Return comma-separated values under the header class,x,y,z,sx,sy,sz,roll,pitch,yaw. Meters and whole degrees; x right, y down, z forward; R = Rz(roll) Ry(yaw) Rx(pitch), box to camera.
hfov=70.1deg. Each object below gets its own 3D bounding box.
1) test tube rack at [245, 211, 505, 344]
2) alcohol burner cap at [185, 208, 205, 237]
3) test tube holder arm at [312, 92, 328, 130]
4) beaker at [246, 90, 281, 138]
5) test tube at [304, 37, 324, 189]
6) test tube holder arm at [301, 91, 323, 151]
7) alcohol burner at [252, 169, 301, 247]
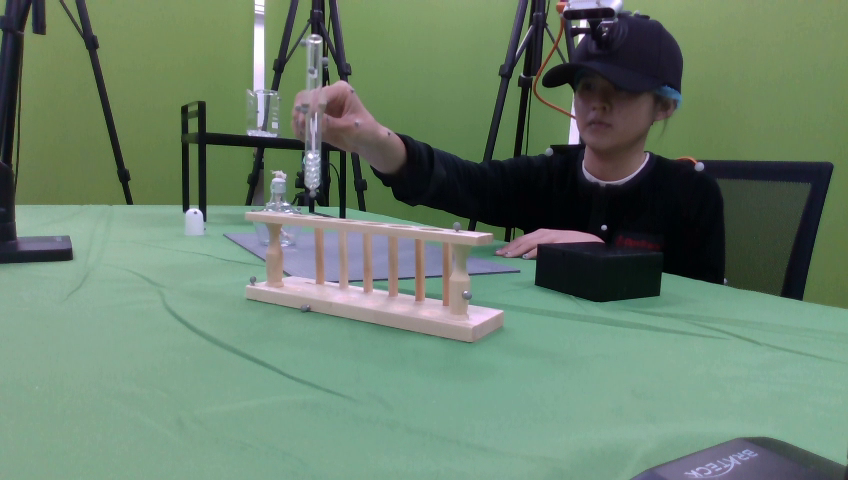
class,x,y,z,sx,sy,sz,roll,pitch,yaw
test tube rack,-0.049,0.024,0.547,0.241,0.085,0.067,7,8,29
alcohol burner cap,-0.391,-0.031,1.032,0.034,0.048,0.034,3,8,0
test tube holder arm,-0.106,-0.128,0.608,0.010,0.015,0.087,1,-6,-15
beaker,-0.354,-0.275,1.322,0.074,0.100,0.084,4,8,12
test tube,-0.106,-0.123,0.583,0.017,0.150,0.017,0,-6,0
test tube holder arm,-0.119,-0.124,0.650,0.013,0.015,0.178,1,-6,-7
alcohol burner,-0.227,-0.050,0.936,0.078,0.119,0.078,1,7,0
